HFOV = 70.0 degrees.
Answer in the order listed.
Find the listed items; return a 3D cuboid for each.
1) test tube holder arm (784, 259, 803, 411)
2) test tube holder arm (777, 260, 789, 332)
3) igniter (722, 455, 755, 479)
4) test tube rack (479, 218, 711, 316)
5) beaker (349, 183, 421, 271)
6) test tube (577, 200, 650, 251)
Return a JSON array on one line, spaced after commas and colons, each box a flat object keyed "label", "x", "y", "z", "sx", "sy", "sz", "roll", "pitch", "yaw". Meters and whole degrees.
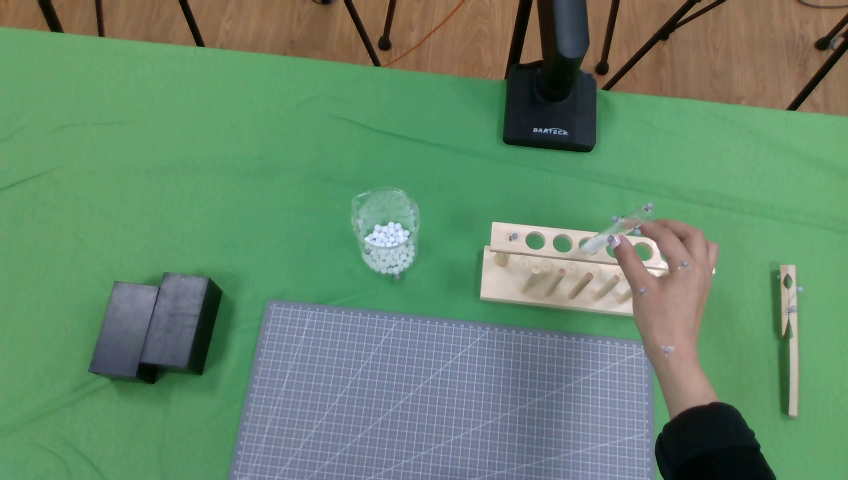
[{"label": "test tube holder arm", "x": 0.429, "y": 0.107, "z": 0.705, "sx": 0.013, "sy": 0.015, "sz": 0.177, "roll": -8, "pitch": 65, "yaw": 34}, {"label": "test tube holder arm", "x": 0.430, "y": 0.066, "z": 0.723, "sx": 0.010, "sy": 0.015, "sz": 0.087, "roll": -6, "pitch": 66, "yaw": 34}, {"label": "igniter", "x": 0.309, "y": 0.358, "z": 0.604, "sx": 0.057, "sy": 0.025, "sz": 0.275, "roll": 16, "pitch": 69, "yaw": -7}, {"label": "test tube rack", "x": 0.189, "y": 0.032, "z": 0.692, "sx": 0.242, "sy": 0.086, "sz": 0.066, "roll": 6, "pitch": 69, "yaw": 1}, {"label": "beaker", "x": -0.046, "y": -0.012, "z": 0.694, "sx": 0.083, "sy": 0.101, "sz": 0.074, "roll": 33, "pitch": 71, "yaw": 12}, {"label": "test tube", "x": 0.184, "y": -0.010, "z": 0.606, "sx": 0.017, "sy": 0.150, "sz": 0.017, "roll": 2, "pitch": 76, "yaw": -7}]
